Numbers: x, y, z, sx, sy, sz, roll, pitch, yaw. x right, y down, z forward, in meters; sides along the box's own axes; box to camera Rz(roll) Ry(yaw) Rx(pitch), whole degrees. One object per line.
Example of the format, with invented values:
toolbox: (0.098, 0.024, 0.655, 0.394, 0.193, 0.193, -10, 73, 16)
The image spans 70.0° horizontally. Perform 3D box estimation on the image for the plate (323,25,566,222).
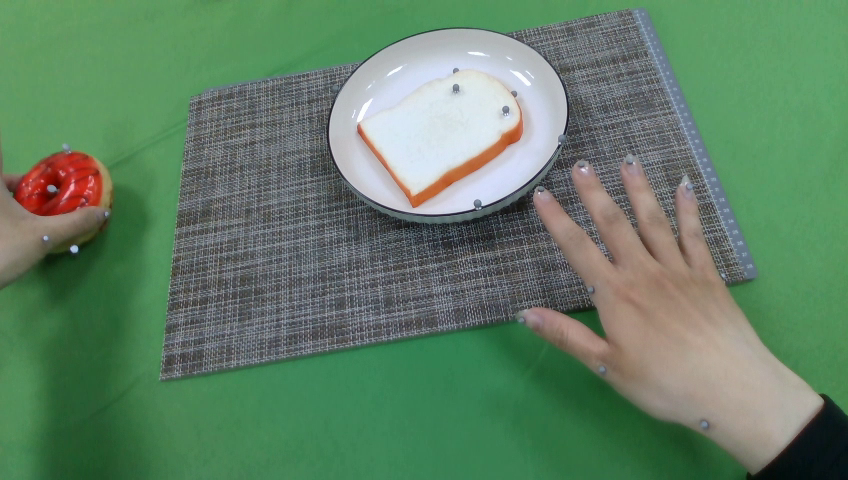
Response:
plate: (0.017, -0.101, 0.529, 0.207, 0.039, 0.206, -4, 61, 7)

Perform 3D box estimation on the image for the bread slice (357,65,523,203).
bread slice: (0.018, -0.104, 0.533, 0.131, 0.019, 0.104, -33, 62, -8)

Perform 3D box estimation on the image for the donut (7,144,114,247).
donut: (-0.324, -0.040, 0.538, 0.099, 0.048, 0.098, -6, 67, 14)
